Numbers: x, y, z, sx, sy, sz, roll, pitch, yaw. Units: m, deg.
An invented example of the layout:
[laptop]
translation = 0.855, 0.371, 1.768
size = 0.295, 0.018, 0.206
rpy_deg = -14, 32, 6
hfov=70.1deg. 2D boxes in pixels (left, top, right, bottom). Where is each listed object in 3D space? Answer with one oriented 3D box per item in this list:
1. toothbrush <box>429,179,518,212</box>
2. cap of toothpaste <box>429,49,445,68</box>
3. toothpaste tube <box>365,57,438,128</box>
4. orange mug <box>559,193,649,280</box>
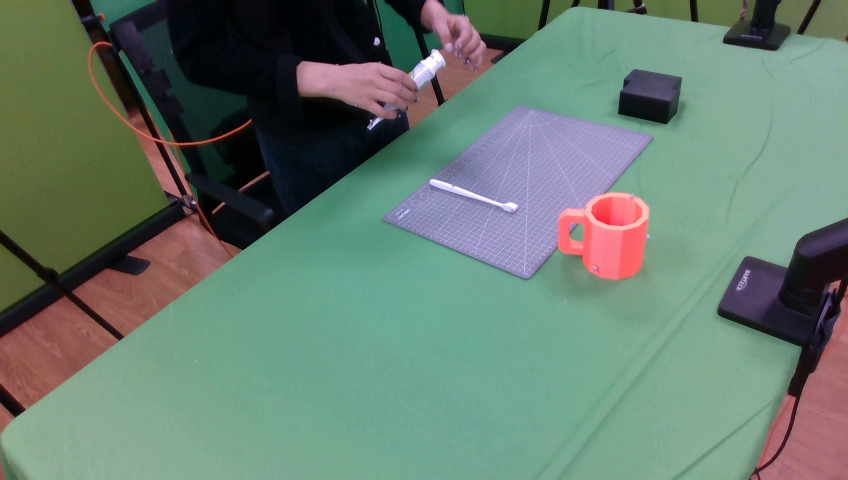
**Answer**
[toothbrush]
translation = 0.084, -0.081, 1.062
size = 0.180, 0.014, 0.017
rpy_deg = 21, 44, 30
[cap of toothpaste]
translation = 0.021, -0.307, 1.026
size = 0.011, 0.037, 0.037
rpy_deg = -42, 48, -11
[toothpaste tube]
translation = -0.039, -0.251, 1.029
size = 0.165, 0.034, 0.055
rpy_deg = -43, 15, 1
[orange mug]
translation = 0.261, -0.008, 0.884
size = 0.126, 0.101, 0.083
rpy_deg = 9, 43, 14
